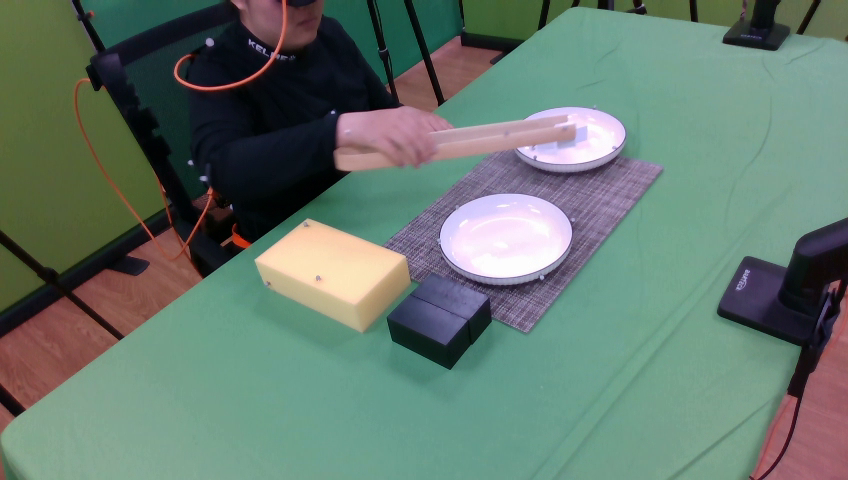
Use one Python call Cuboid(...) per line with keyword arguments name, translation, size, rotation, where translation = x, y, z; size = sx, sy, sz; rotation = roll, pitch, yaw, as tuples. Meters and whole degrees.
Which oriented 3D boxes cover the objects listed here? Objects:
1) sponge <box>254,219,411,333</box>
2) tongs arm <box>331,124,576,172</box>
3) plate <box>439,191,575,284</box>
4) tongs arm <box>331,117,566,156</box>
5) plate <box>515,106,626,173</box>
Cuboid(name="sponge", translation=(-0.139, 0.048, 0.922), size=(0.205, 0.061, 0.118), rotation=(19, 47, 30))
Cuboid(name="tongs arm", translation=(0.049, -0.149, 0.950), size=(0.386, 0.026, 0.050), rotation=(-10, 30, -9))
Cuboid(name="plate", translation=(0.129, -0.001, 0.942), size=(0.207, 0.039, 0.206), rotation=(-5, 40, 5))
Cuboid(name="tongs arm", translation=(0.045, -0.161, 0.972), size=(0.388, 0.028, 0.028), rotation=(-9, 33, -6))
Cuboid(name="plate", translation=(0.269, -0.185, 1.132), size=(0.209, 0.038, 0.208), rotation=(-5, 40, 5))
